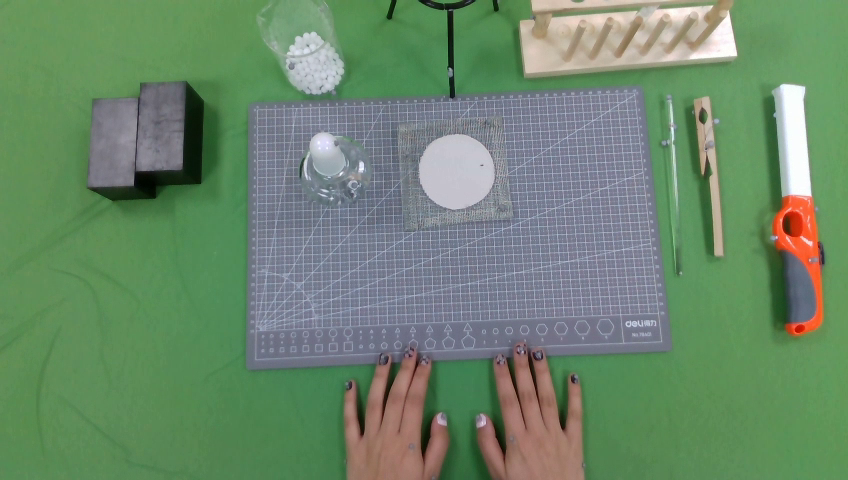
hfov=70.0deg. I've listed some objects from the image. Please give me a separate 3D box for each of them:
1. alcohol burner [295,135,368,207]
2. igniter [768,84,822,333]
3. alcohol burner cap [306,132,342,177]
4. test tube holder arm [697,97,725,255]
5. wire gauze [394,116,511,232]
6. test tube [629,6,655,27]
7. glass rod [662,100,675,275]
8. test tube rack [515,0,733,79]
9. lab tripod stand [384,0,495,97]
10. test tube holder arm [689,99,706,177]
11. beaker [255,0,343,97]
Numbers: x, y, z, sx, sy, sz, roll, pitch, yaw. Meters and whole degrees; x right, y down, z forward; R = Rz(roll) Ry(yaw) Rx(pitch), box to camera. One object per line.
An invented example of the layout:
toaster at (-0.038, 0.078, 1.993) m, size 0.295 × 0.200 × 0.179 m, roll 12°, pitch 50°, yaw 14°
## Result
alcohol burner at (-0.098, -0.077, 0.623) m, size 0.078 × 0.119 × 0.077 m, roll 0°, pitch 77°, yaw 2°
igniter at (0.401, -0.037, 0.659) m, size 0.057 × 0.025 × 0.275 m, roll 4°, pitch 79°, yaw -9°
alcohol burner cap at (-0.098, -0.086, 0.588) m, size 0.034 × 0.048 × 0.033 m, roll 1°, pitch 70°, yaw -1°
test tube holder arm at (0.316, -0.071, 0.668) m, size 0.013 × 0.015 × 0.177 m, roll -11°, pitch 77°, yaw 36°
wire gauze at (0.030, -0.076, 0.676) m, size 0.121 × 0.011 × 0.124 m, roll -5°, pitch 83°, yaw -1°
test tube at (0.247, -0.264, 0.622) m, size 0.017 × 0.150 × 0.017 m, roll 1°, pitch 78°, yaw -5°
glass rod at (0.272, -0.060, 0.674) m, size 0.008 × 0.008 × 0.199 m, roll 0°, pitch 82°, yaw 0°
test tube rack at (0.229, -0.237, 0.667) m, size 0.242 × 0.085 × 0.066 m, roll -5°, pitch 79°, yaw 0°
lab tripod stand at (0.018, -0.247, 0.645) m, size 0.148 × 0.132 × 0.147 m, roll 0°, pitch 79°, yaw 3°
test tube holder arm at (0.309, -0.115, 0.679) m, size 0.010 × 0.015 × 0.087 m, roll -10°, pitch 77°, yaw 36°
beaker at (-0.131, -0.207, 0.657) m, size 0.084 × 0.100 × 0.074 m, roll 16°, pitch 79°, yaw 4°
